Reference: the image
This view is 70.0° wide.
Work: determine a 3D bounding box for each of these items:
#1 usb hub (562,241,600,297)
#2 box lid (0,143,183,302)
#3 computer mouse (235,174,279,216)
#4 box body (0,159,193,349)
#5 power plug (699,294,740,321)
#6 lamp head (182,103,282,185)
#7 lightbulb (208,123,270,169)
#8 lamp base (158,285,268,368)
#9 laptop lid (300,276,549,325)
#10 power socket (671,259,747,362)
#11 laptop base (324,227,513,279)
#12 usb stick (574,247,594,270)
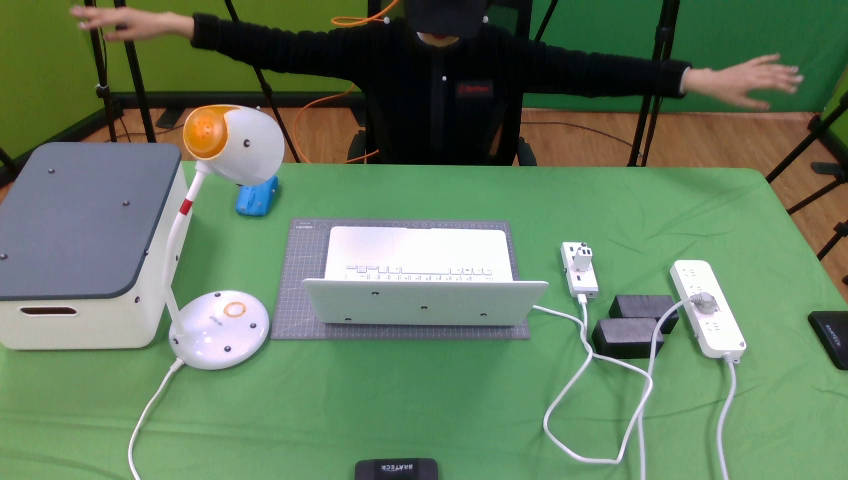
[{"bbox_3d":[0.300,0.055,1.162,0.049,0.025,0.124,2,46,-3],"label":"usb hub"},{"bbox_3d":[-0.567,-0.045,0.999,0.263,0.015,0.369,-1,46,-4],"label":"box lid"},{"bbox_3d":[-0.346,-0.099,1.258,0.063,0.041,0.116,8,50,2],"label":"computer mouse"},{"bbox_3d":[-0.570,0.006,1.054,0.254,0.161,0.361,-1,46,-4],"label":"box body"},{"bbox_3d":[0.515,0.127,1.070,0.035,0.053,0.072,-17,55,-6],"label":"power plug"},{"bbox_3d":[-0.271,-0.133,0.825,0.112,0.112,0.123,20,8,15],"label":"lamp head"},{"bbox_3d":[-0.260,-0.136,0.848,0.059,0.108,0.059,-4,77,21],"label":"lightbulb"},{"bbox_3d":[-0.348,0.102,0.963,0.160,0.181,0.178,23,51,18],"label":"lamp base"},{"bbox_3d":[-0.002,0.100,0.947,0.357,0.242,0.013,1,67,-4],"label":"laptop lid"},{"bbox_3d":[0.516,0.119,1.108,0.072,0.033,0.225,0,46,-2],"label":"power socket"},{"bbox_3d":[-0.009,0.062,1.137,0.354,0.023,0.234,1,42,-3],"label":"laptop base"},{"bbox_3d":[0.298,0.040,1.135,0.027,0.059,0.021,2,46,-4],"label":"usb stick"}]
